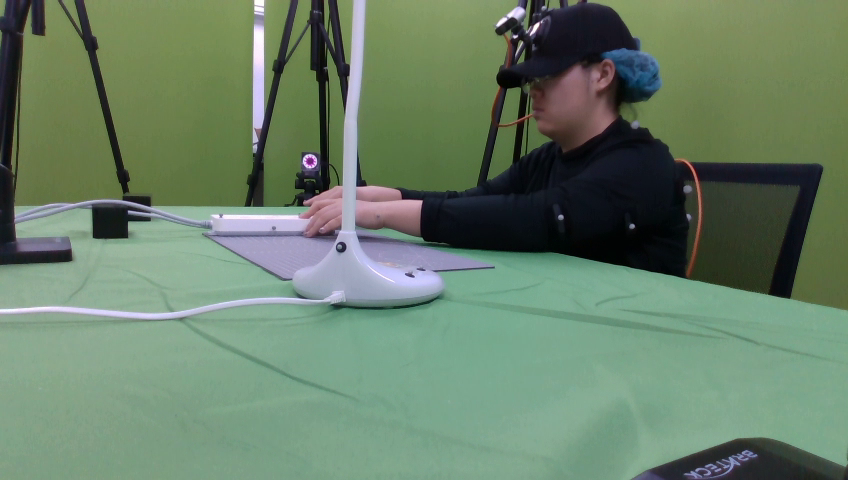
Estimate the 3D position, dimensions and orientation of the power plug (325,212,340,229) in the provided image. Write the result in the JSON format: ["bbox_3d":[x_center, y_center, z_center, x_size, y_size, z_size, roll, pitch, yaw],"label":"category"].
[{"bbox_3d":[-0.200,-0.026,1.194,0.072,0.035,0.052,-36,9,-8],"label":"power plug"}]

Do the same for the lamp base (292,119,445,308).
[{"bbox_3d":[-0.056,-0.030,0.616,0.160,0.180,0.179,4,10,8],"label":"lamp base"}]

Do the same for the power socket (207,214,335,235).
[{"bbox_3d":[-0.271,-0.030,1.086,0.228,0.032,0.072,-2,8,-28],"label":"power socket"}]
